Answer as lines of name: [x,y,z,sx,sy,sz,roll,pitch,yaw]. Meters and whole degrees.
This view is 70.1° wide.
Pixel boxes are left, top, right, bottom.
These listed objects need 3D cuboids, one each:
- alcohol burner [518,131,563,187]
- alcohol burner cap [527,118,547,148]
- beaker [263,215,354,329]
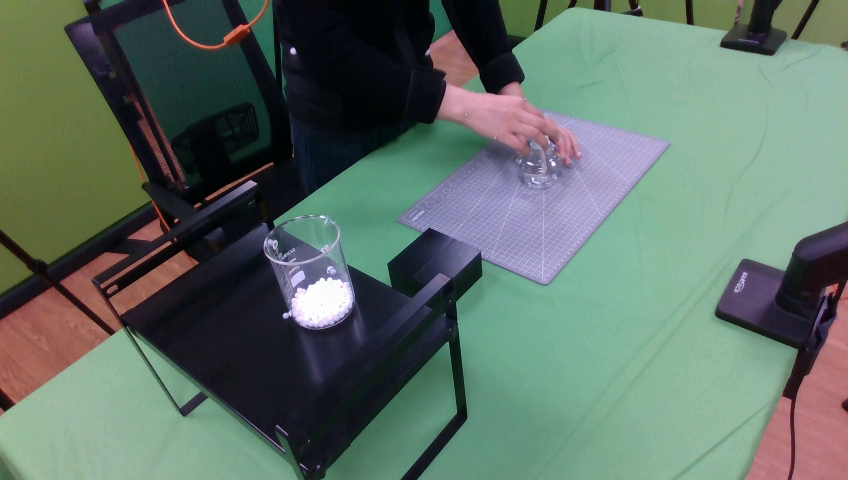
alcohol burner: [0.201,-0.151,1.046,0.078,0.120,0.077,-6,42,6]
alcohol burner cap: [0.191,-0.184,1.020,0.034,0.048,0.033,-4,40,4]
beaker: [-0.112,0.034,0.616,0.073,0.101,0.084,13,44,23]
